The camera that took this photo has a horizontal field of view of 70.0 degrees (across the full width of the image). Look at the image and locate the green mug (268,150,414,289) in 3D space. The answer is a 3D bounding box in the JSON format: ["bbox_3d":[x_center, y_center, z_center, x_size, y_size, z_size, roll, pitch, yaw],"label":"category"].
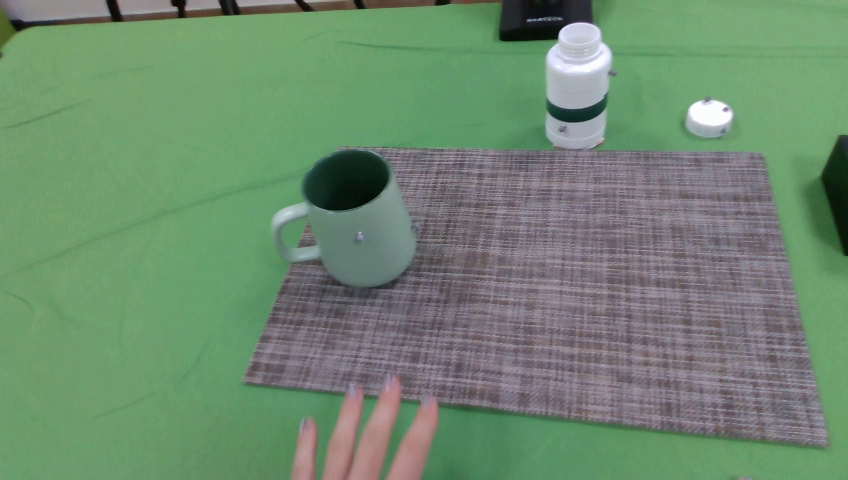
[{"bbox_3d":[-0.076,-0.011,0.545,0.125,0.106,0.091,-18,49,-4],"label":"green mug"}]

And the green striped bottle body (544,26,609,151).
[{"bbox_3d":[0.154,-0.155,0.620,0.063,0.120,0.062,-5,49,7],"label":"green striped bottle body"}]

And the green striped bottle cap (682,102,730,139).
[{"bbox_3d":[0.297,-0.126,0.637,0.044,0.020,0.044,-4,46,4],"label":"green striped bottle cap"}]
